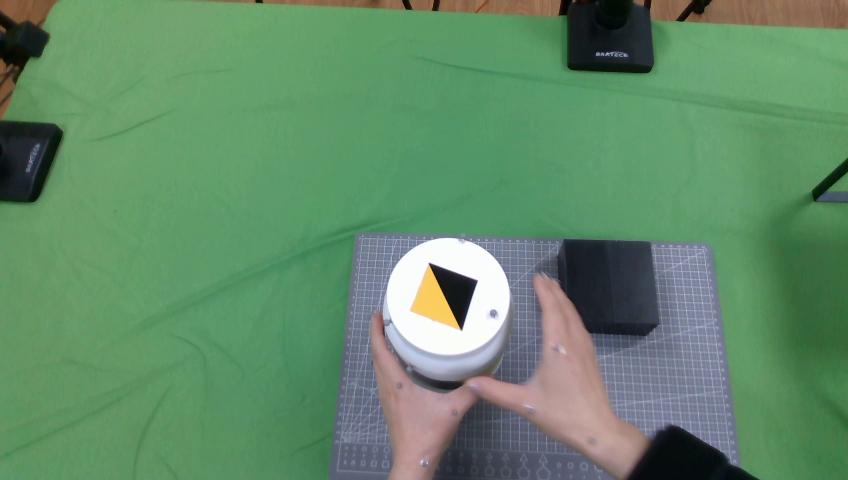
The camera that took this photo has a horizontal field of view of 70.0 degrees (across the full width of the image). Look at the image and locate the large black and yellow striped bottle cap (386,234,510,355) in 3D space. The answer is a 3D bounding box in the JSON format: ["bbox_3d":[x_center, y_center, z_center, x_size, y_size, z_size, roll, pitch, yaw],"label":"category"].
[{"bbox_3d":[0.022,0.049,0.561,0.115,0.019,0.114,-1,67,3],"label":"large black and yellow striped bottle cap"}]

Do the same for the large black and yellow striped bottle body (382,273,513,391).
[{"bbox_3d":[0.025,0.081,0.639,0.131,0.185,0.130,-1,67,2],"label":"large black and yellow striped bottle body"}]
